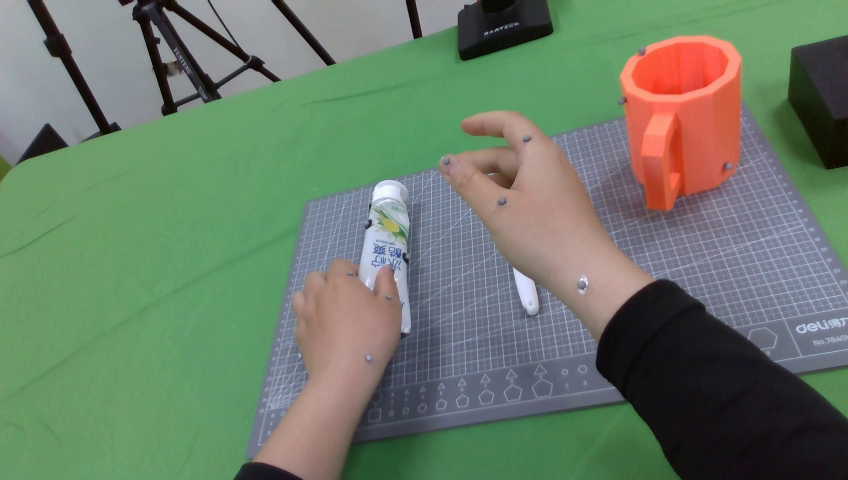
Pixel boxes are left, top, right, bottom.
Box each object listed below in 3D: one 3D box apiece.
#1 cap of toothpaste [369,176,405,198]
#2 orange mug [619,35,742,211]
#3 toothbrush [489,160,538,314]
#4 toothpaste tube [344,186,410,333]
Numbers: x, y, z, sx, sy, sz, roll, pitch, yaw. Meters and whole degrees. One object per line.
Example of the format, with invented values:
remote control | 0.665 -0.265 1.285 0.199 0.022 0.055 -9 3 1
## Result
cap of toothpaste | -0.037 -0.049 0.598 0.037 0.038 0.011 -10 49 17
orange mug | 0.201 -0.088 0.483 0.083 0.102 0.125 10 50 33
toothbrush | 0.076 -0.010 0.528 0.014 0.017 0.180 -7 46 1
toothpaste tube | -0.039 0.010 0.549 0.055 0.035 0.163 4 50 -6
